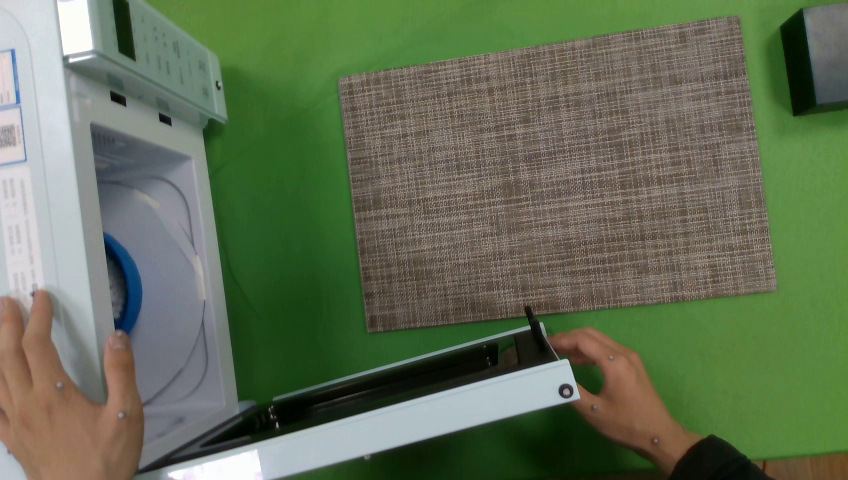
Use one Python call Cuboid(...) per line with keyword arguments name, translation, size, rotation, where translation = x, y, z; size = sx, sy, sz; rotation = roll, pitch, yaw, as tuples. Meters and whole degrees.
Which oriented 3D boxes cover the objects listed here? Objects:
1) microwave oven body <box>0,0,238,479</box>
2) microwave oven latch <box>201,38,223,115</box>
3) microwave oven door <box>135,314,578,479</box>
Cuboid(name="microwave oven body", translation=(-0.381, 0.010, 0.606), size=(0.326, 0.260, 0.441), rotation=(-9, 89, 6))
Cuboid(name="microwave oven latch", translation=(-0.250, -0.185, 0.689), size=(0.030, 0.029, 0.079), rotation=(-8, 89, 6))
Cuboid(name="microwave oven door", translation=(-0.046, 0.147, 0.562), size=(0.356, 0.244, 0.039), rotation=(-18, 86, 6))
